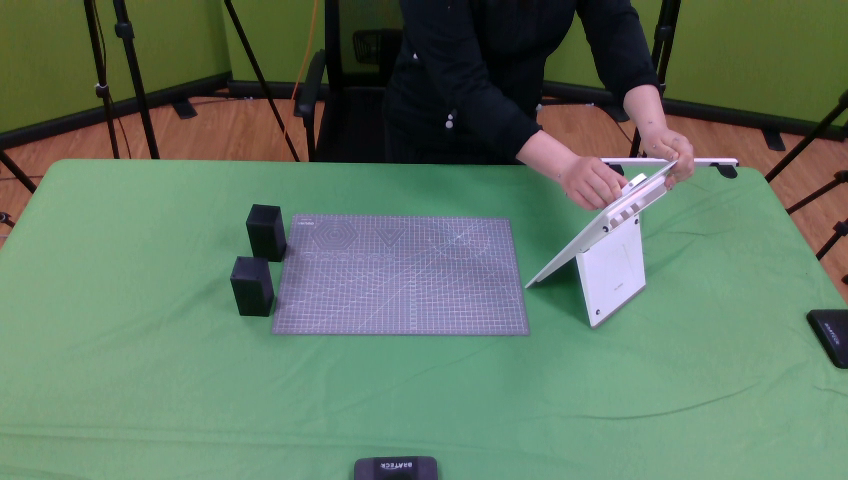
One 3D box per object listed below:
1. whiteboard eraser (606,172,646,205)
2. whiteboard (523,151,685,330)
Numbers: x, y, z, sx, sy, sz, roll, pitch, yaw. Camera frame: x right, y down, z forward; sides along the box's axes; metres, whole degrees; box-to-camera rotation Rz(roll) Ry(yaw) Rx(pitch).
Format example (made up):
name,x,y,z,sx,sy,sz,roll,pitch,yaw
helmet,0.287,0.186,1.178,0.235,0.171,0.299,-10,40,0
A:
name,x,y,z,sx,sy,sz,roll,pitch,yaw
whiteboard eraser,0.330,-0.077,0.998,0.041,0.101,0.019,-33,74,-29
whiteboard,0.346,0.024,1.047,0.217,0.306,0.143,-30,73,-29
